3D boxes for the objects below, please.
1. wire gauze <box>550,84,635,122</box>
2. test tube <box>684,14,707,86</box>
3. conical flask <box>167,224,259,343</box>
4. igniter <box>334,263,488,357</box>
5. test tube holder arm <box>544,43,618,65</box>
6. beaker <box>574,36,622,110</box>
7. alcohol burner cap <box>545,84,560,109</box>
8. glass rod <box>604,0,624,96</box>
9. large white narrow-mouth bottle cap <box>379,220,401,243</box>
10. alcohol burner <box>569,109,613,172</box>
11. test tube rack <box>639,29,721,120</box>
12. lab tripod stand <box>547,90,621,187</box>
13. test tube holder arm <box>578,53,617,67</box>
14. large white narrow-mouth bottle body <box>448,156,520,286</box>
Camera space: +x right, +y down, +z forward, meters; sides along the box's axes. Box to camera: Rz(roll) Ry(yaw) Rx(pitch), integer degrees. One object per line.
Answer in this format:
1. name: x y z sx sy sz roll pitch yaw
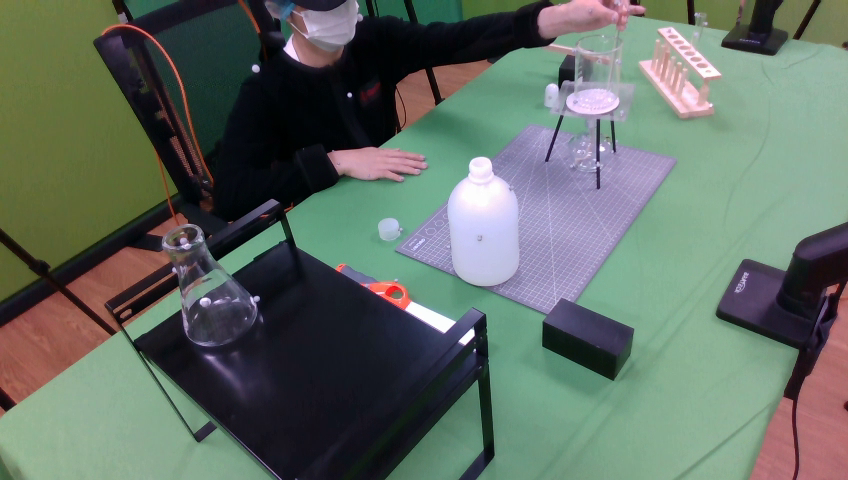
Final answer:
1. wire gauze: 0.285 -0.234 1.021 0.124 0.011 0.121 8 41 24
2. test tube: 0.541 -0.379 1.216 0.017 0.151 0.017 -2 44 3
3. conical flask: -0.220 0.041 0.613 0.075 0.122 0.075 -5 40 4
4. igniter: -0.030 0.095 0.872 0.274 0.025 0.057 23 60 31
5. test tube holder arm: 0.345 -0.413 1.341 0.177 0.015 0.013 26 49 32
6. beaker: 0.285 -0.273 0.990 0.073 0.101 0.084 15 46 27
7. alcohol burner cap: 0.274 -0.307 1.285 0.034 0.048 0.033 -5 42 5
8. glass rod: 0.302 -0.318 0.954 0.008 0.200 0.008 -2 41 2
9. large white narrow-mouth bottle cap: -0.057 -0.015 1.011 0.038 0.024 0.037 -4 40 4
10. alcohol burner: 0.297 -0.181 1.073 0.078 0.119 0.077 -5 43 5
11. test tube rack: 0.527 -0.351 1.262 0.067 0.085 0.241 -8 40 1
12. lab tripod stand: 0.289 -0.184 1.062 0.148 0.132 0.147 -6 41 6
13. test tube holder arm: 0.376 -0.394 1.314 0.087 0.015 0.010 26 49 32
14. large white narrow-mouth bottle body: 0.086 -0.032 0.869 0.102 0.195 0.101 -4 40 4
